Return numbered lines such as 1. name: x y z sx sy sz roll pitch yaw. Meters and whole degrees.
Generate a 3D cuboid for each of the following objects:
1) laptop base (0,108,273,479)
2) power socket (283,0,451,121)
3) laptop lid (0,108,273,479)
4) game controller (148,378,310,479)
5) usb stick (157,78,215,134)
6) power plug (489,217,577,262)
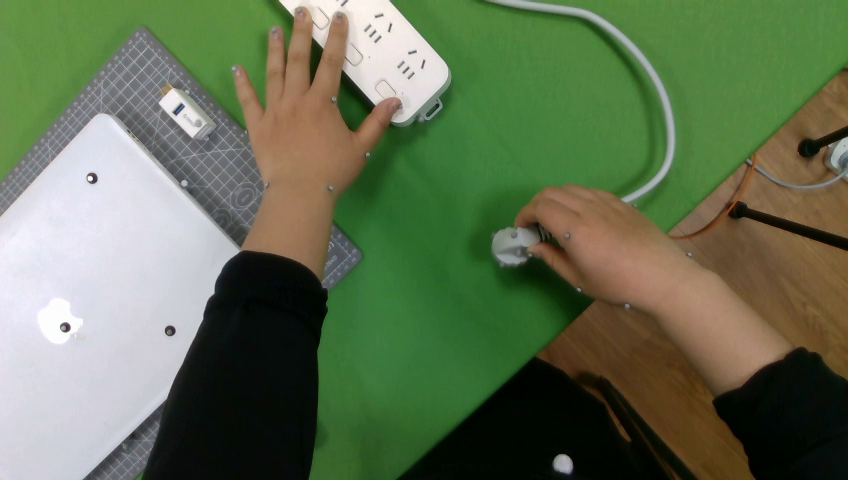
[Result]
1. laptop base: -0.345 0.074 0.595 0.354 0.023 0.236 -43 95 8
2. power socket: -0.067 -0.202 0.534 0.072 0.032 0.227 -42 92 10
3. laptop lid: -0.344 0.077 0.584 0.357 0.013 0.242 -41 94 8
4. game controller: -0.195 0.206 0.586 0.155 0.051 0.097 -43 87 7
5. usb stick: -0.223 -0.125 0.556 0.021 0.027 0.059 -43 90 10
6. power plug: 0.093 0.003 0.528 0.072 0.053 0.035 3 72 -3
